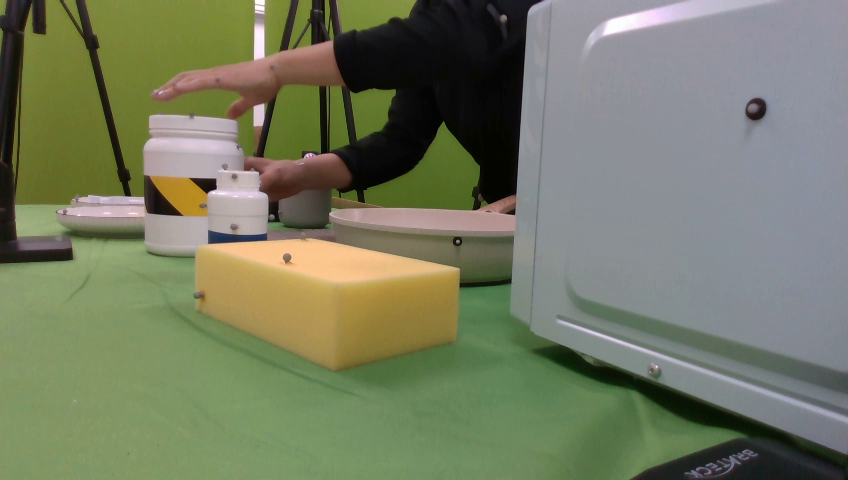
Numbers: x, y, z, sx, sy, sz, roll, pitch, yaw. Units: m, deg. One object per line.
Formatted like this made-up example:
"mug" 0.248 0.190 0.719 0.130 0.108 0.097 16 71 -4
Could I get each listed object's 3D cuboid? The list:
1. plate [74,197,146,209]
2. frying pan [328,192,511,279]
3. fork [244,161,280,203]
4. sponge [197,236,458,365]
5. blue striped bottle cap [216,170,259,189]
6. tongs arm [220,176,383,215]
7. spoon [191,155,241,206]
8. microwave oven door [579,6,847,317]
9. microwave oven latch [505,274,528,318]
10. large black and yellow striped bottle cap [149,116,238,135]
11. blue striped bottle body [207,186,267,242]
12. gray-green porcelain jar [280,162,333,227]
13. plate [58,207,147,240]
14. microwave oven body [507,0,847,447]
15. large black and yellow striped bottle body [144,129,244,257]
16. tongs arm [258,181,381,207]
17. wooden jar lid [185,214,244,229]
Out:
"plate" -0.596 -0.062 1.238 0.208 0.039 0.207 2 8 0
"frying pan" 0.071 -0.030 0.883 0.305 0.102 0.490 7 17 28
"fork" -0.398 -0.144 1.489 0.028 0.018 0.208 22 -23 47
"sponge" -0.087 0.039 0.500 0.119 0.061 0.206 -5 10 -45
"blue striped bottle cap" -0.201 -0.066 0.654 0.044 0.020 0.044 -1 6 0
"tongs arm" -0.285 -0.104 1.445 0.389 0.027 0.028 9 -4 -23
"spoon" -0.489 -0.136 1.418 0.041 0.021 0.194 2 -35 19
"microwave oven door" 0.294 -0.067 0.570 0.358 0.243 0.039 -3 9 -31
"microwave oven latch" 0.100 0.041 0.473 0.079 0.029 0.030 -2 8 -31
"large black and yellow striped bottle cap" -0.319 -0.158 0.840 0.115 0.019 0.115 3 6 0
"blue striped bottle body" -0.204 -0.015 0.661 0.063 0.120 0.063 2 7 0
"gray-green porcelain jar" -0.238 -0.092 1.221 0.106 0.126 0.106 2 7 0
"plate" -0.496 -0.030 1.021 0.209 0.038 0.209 2 8 0
"microwave oven body" 0.331 -0.042 0.425 0.444 0.260 0.324 -2 8 -31
"large black and yellow striped bottle body" -0.320 -0.075 0.851 0.131 0.184 0.130 2 8 0
"tongs arm" -0.241 -0.095 1.373 0.387 0.026 0.050 9 0 -37
"wooden jar lid" -0.404 -0.037 1.169 0.108 0.020 0.108 3 7 0
